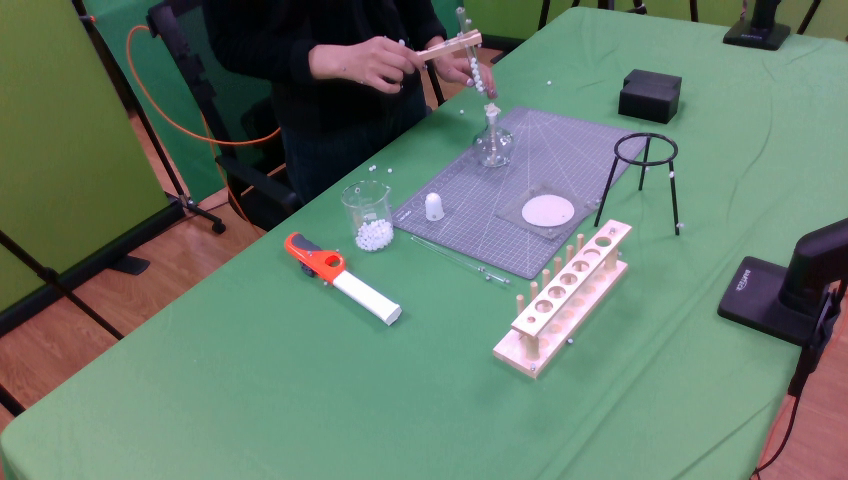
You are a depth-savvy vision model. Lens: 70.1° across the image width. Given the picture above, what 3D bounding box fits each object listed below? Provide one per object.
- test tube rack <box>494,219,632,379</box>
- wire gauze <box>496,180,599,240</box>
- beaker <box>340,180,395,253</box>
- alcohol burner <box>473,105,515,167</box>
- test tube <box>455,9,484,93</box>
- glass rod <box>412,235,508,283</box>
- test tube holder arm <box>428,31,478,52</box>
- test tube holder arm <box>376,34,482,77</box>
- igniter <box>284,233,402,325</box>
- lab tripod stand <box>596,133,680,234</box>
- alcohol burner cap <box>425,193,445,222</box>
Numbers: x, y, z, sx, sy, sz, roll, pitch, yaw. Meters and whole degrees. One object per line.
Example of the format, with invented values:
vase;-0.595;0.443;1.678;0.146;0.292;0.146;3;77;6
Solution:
test tube rack;0.191;0.068;0.818;0.066;0.085;0.243;25;51;35
wire gauze;0.206;-0.050;1.012;0.125;0.011;0.120;-34;45;-26
beaker;-0.086;-0.037;0.985;0.084;0.101;0.073;-18;41;-11
alcohol burner;0.128;-0.196;1.116;0.078;0.119;0.077;-4;40;4
test tube;0.077;-0.309;1.001;0.017;0.151;0.017;-12;43;12
glass rod;0.051;0.028;0.952;0.198;0.008;0.008;25;51;37
test tube holder arm;0.048;-0.319;0.989;0.088;0.015;0.010;-23;38;-5
test tube holder arm;0.007;-0.300;0.983;0.178;0.015;0.013;-19;38;1
igniter;-0.136;0.054;0.942;0.274;0.025;0.057;30;63;37
lab tripod stand;0.338;-0.091;0.940;0.148;0.132;0.147;-7;39;6
alcohol burner cap;0.017;-0.058;1.029;0.034;0.048;0.033;-5;40;5
